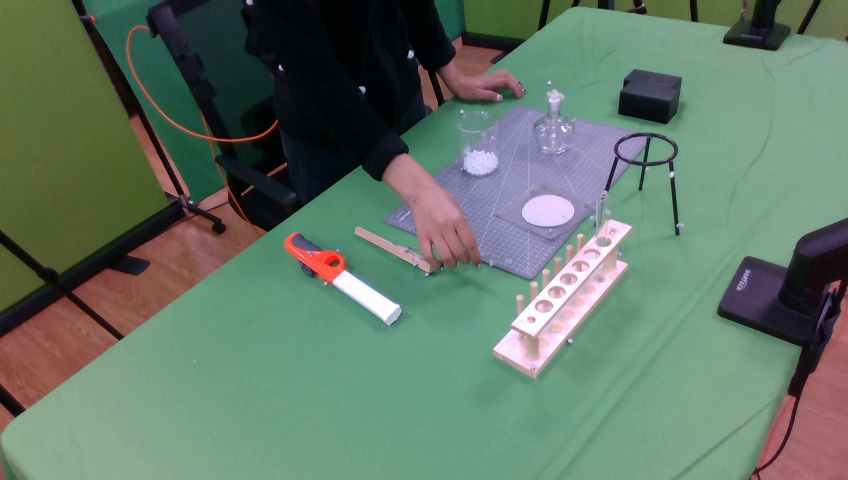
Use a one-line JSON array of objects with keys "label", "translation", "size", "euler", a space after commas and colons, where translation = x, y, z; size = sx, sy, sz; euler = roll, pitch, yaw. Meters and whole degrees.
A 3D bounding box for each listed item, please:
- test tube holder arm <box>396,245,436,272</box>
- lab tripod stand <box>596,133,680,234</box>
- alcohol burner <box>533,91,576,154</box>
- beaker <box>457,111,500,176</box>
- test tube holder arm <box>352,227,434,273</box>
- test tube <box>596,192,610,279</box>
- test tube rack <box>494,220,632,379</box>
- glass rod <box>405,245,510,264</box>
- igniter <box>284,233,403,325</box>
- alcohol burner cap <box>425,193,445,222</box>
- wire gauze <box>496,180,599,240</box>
[{"label": "test tube holder arm", "translation": [-0.016, 0.029, 0.957], "size": [0.087, 0.015, 0.010], "euler": [25, 15, 35]}, {"label": "lab tripod stand", "translation": [0.338, -0.091, 0.940], "size": [0.148, 0.132, 0.147], "euler": [-7, 39, 6]}, {"label": "alcohol burner", "translation": [0.243, -0.221, 1.124], "size": [0.078, 0.119, 0.077], "euler": [-4, 39, 4]}, {"label": "beaker", "translation": [0.104, -0.175, 1.108], "size": [0.073, 0.101, 0.084], "euler": [16, 45, 27]}, {"label": "test tube holder arm", "translation": [-0.053, 0.014, 0.978], "size": [0.177, 0.015, 0.013], "euler": [25, 15, 34]}, {"label": "test tube", "translation": [0.240, -0.002, 0.814], "size": [0.017, 0.151, 0.017], "euler": [-7, 42, 7]}, {"label": "test tube rack", "translation": [0.191, 0.068, 0.818], "size": [0.066, 0.085, 0.243], "euler": [25, 51, 35]}, {"label": "glass rod", "translation": [0.047, 0.022, 0.935], "size": [0.198, 0.008, 0.008], "euler": [8, 42, 38]}, {"label": "igniter", "translation": [-0.136, 0.054, 0.942], "size": [0.274, 0.025, 0.057], "euler": [29, 63, 37]}, {"label": "alcohol burner cap", "translation": [0.017, -0.058, 1.029], "size": [0.034, 0.048, 0.033], "euler": [-6, 40, 6]}, {"label": "wire gauze", "translation": [0.206, -0.050, 1.012], "size": [0.125, 0.011, 0.120], "euler": [-34, 45, -26]}]
